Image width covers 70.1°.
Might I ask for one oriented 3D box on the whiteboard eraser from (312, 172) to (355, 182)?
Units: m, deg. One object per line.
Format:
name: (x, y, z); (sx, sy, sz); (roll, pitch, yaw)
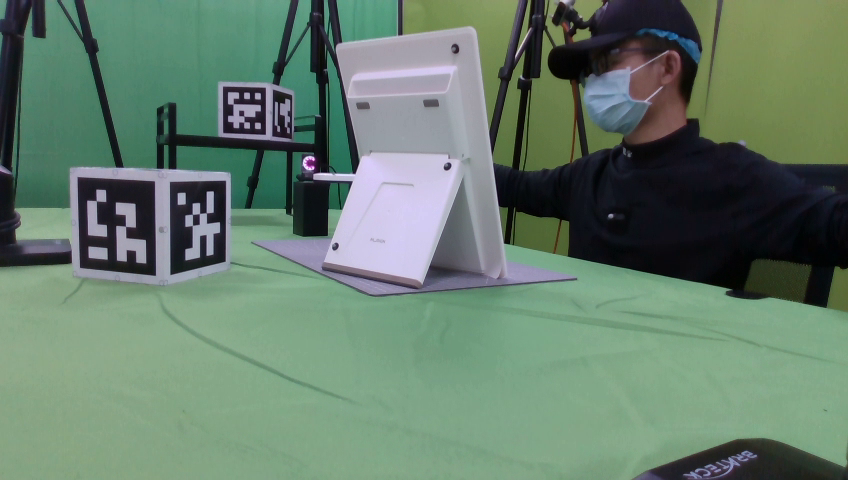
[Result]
whiteboard eraser: (-0.165, -0.121, 1.155); (0.102, 0.019, 0.041); (-2, 7, -34)

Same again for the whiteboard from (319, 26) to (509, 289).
whiteboard: (-0.046, -0.076, 0.720); (0.216, 0.305, 0.144); (9, 29, 39)
